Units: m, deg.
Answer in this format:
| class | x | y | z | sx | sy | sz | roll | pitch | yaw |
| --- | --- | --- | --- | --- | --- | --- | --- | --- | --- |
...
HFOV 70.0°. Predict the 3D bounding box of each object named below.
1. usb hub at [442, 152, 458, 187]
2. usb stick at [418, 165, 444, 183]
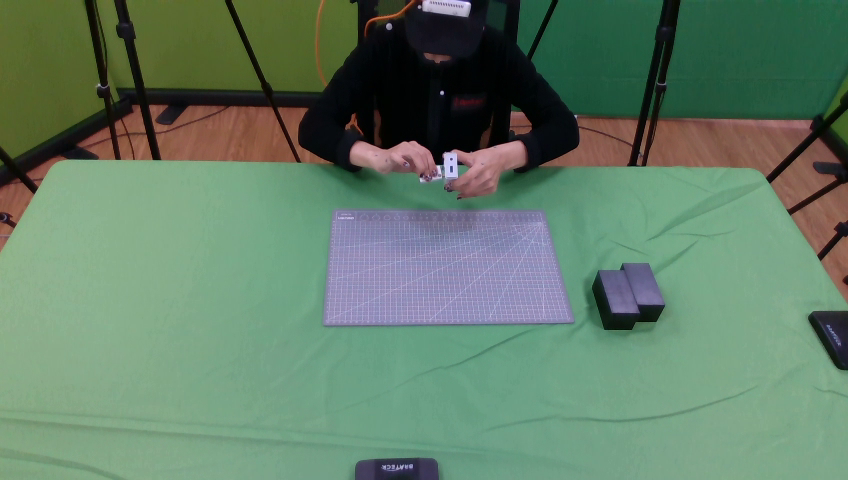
| class | x | y | z | sx | sy | sz | roll | pitch | yaw |
| --- | --- | --- | --- | --- | --- | --- | --- | --- | --- |
| usb hub | 0.051 | -0.138 | 1.195 | 0.025 | 0.125 | 0.049 | -2 | 86 | 0 |
| usb stick | 0.019 | -0.130 | 1.188 | 0.059 | 0.021 | 0.027 | -6 | 81 | 0 |
